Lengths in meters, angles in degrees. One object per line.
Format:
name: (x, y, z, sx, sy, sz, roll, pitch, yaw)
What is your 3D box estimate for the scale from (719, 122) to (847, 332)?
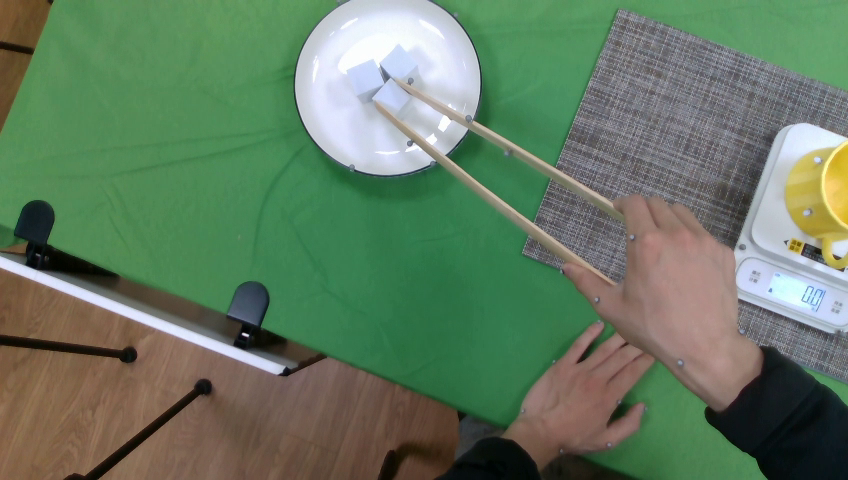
scale: (0.421, -0.014, 0.652, 0.148, 0.031, 0.200, 21, 88, 4)

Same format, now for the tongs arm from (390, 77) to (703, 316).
tongs arm: (0.086, -0.059, 0.555, 0.381, 0.027, 0.050, 36, 82, 32)

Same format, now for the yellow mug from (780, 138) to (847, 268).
yellow mug: (0.422, -0.036, 0.606, 0.100, 0.064, 0.130, 11, 89, 2)

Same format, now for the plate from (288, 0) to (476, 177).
plate: (-0.046, -0.171, 0.681, 0.207, 0.039, 0.207, 0, 87, 2)

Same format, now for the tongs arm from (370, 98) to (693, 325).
tongs arm: (0.070, -0.042, 0.553, 0.028, 0.028, 0.383, -44, 57, -7)
